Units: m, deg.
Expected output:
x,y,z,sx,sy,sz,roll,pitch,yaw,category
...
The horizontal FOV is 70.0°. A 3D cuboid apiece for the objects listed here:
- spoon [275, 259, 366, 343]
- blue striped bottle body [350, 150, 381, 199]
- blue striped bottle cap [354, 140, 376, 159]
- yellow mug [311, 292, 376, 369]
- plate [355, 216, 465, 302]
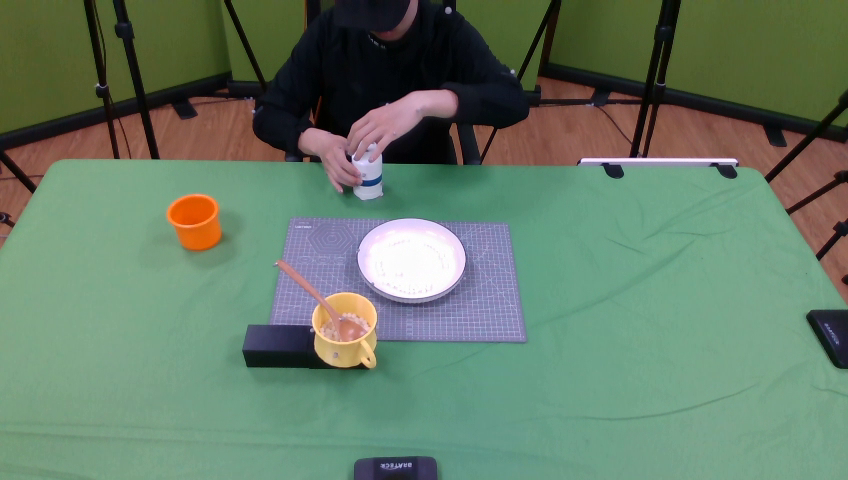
x,y,z,sx,sy,sz,roll,pitch,yaw,category
-0.161,0.098,0.946,0.194,0.021,0.041,48,56,-5,spoon
-0.121,-0.148,1.263,0.063,0.121,0.062,1,47,-1,blue striped bottle body
-0.119,-0.183,1.225,0.044,0.021,0.044,3,43,-2,blue striped bottle cap
-0.115,0.150,0.945,0.100,0.064,0.130,-29,57,-28,yellow mug
-0.027,0.039,1.144,0.208,0.039,0.206,2,46,-2,plate
